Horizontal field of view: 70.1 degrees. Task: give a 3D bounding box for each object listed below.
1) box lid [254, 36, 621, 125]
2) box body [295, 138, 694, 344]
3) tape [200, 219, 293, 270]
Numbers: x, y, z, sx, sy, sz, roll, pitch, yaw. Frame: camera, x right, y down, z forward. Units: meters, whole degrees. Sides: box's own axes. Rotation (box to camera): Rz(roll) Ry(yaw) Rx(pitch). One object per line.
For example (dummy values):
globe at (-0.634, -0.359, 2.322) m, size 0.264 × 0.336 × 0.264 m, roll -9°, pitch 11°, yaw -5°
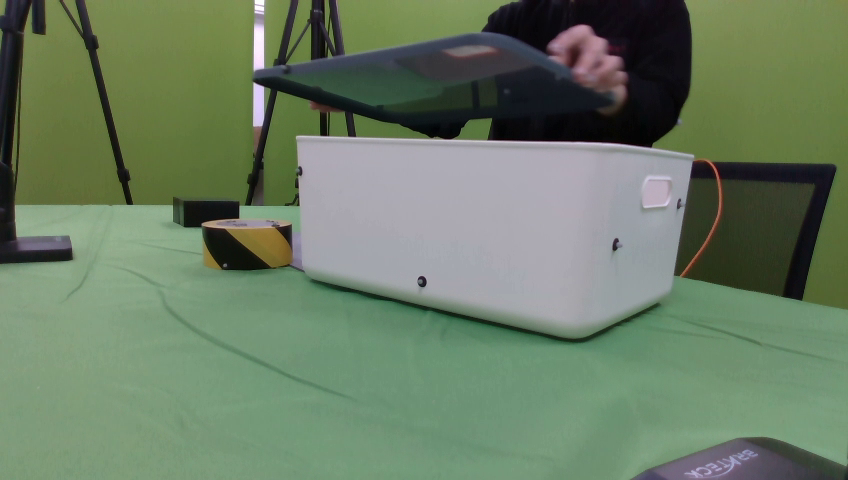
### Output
box lid at (0.008, -0.168, 0.702) m, size 0.369 × 0.015 × 0.265 m, roll 6°, pitch 1°, yaw 40°
box body at (0.065, -0.020, 0.653) m, size 0.362 × 0.160 × 0.255 m, roll 9°, pitch 9°, yaw 36°
tape at (-0.228, 0.004, 0.778) m, size 0.117 × 0.052 × 0.117 m, roll 1°, pitch 8°, yaw 0°
